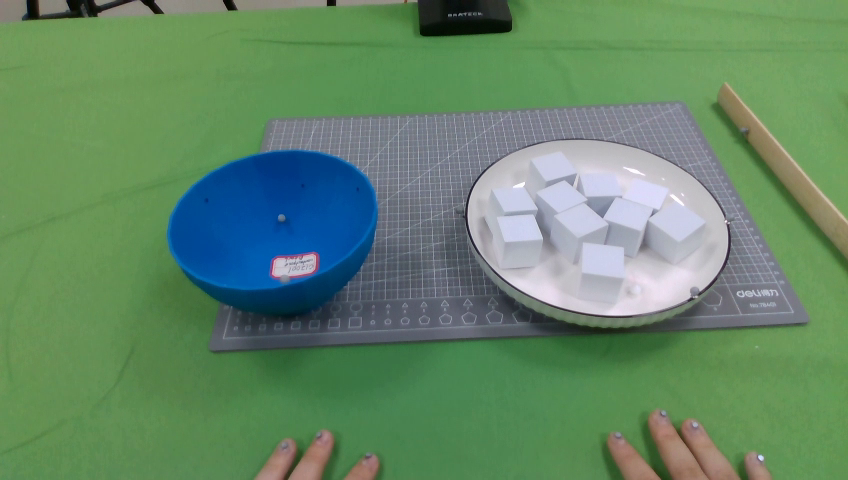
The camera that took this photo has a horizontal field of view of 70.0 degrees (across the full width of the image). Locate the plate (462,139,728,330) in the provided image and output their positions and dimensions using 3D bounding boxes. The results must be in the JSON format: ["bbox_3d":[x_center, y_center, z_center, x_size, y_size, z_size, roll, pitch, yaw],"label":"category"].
[{"bbox_3d":[0.135,-0.007,0.498,0.208,0.039,0.205,-1,46,1],"label":"plate"}]

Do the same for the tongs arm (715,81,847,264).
[{"bbox_3d":[0.349,-0.027,0.521,0.028,0.028,0.383,-6,46,-6],"label":"tongs arm"}]

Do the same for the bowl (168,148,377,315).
[{"bbox_3d":[-0.108,0.005,0.467,0.151,0.077,0.150,-1,46,1],"label":"bowl"}]
